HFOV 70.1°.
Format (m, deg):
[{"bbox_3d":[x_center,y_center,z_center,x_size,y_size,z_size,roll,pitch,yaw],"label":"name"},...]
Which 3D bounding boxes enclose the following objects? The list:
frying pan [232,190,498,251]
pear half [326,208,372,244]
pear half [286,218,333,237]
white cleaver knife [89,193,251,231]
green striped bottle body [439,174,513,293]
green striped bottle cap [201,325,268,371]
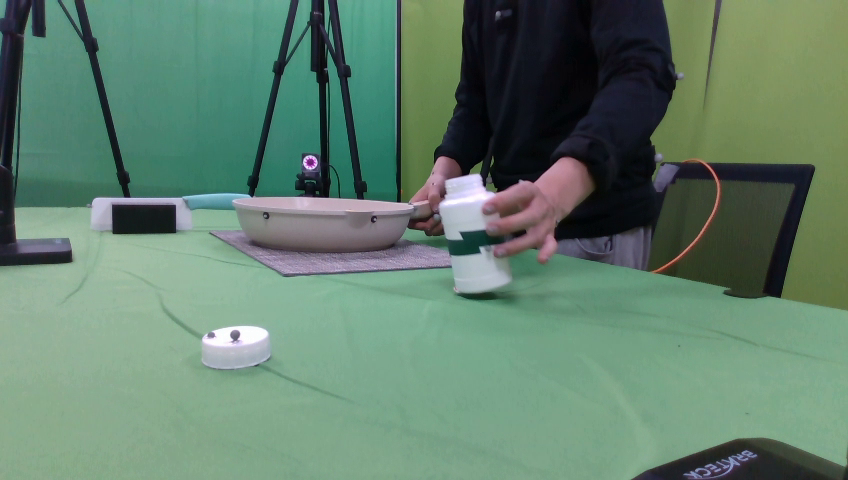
[{"bbox_3d":[-0.073,-0.051,1.047,0.490,0.102,0.305,-11,13,-27],"label":"frying pan"},{"bbox_3d":[-0.128,-0.026,1.017,0.076,0.056,0.109,5,4,-19],"label":"pear half"},{"bbox_3d":[-0.197,-0.022,1.054,0.088,0.031,0.070,-9,18,-44],"label":"pear half"},{"bbox_3d":[-0.454,-0.052,1.114,0.288,0.066,0.021,-4,15,-27],"label":"white cleaver knife"},{"bbox_3d":[0.053,-0.009,0.644,0.063,0.119,0.063,-12,8,2],"label":"green striped bottle body"},{"bbox_3d":[-0.129,0.073,0.415,0.044,0.020,0.044,3,8,0],"label":"green striped bottle cap"}]
